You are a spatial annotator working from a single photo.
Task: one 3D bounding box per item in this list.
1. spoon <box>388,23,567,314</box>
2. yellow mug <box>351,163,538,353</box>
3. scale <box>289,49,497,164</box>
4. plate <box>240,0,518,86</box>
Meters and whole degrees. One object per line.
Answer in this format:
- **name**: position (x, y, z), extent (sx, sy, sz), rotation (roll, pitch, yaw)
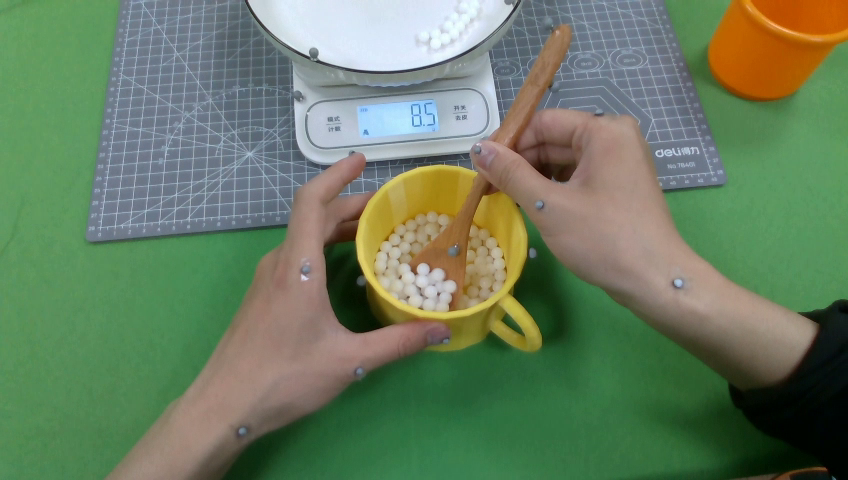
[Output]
- **spoon**: position (0.031, -0.032, 0.348), extent (0.041, 0.022, 0.194), rotation (35, 113, 18)
- **yellow mug**: position (0.019, 0.021, 0.371), extent (0.130, 0.064, 0.100), rotation (42, 72, 17)
- **scale**: position (-0.029, -0.154, 0.466), extent (0.149, 0.032, 0.199), rotation (-6, 66, -3)
- **plate**: position (-0.032, -0.194, 0.448), extent (0.209, 0.038, 0.207), rotation (1, 66, -1)
